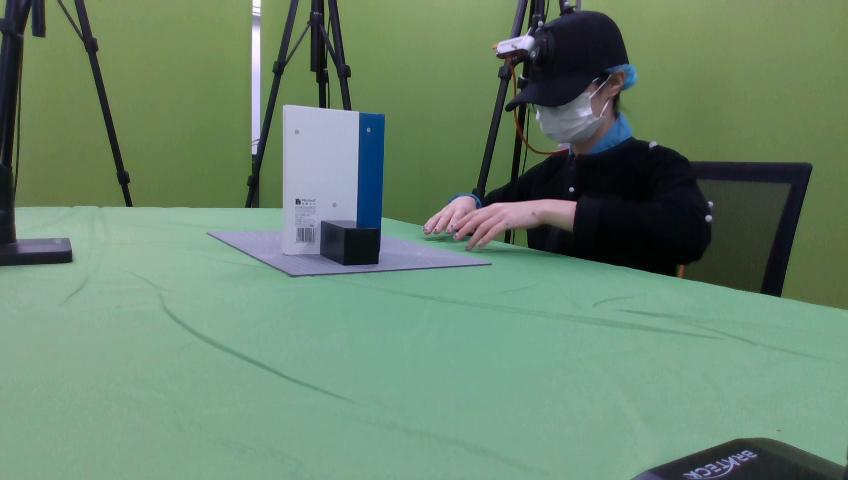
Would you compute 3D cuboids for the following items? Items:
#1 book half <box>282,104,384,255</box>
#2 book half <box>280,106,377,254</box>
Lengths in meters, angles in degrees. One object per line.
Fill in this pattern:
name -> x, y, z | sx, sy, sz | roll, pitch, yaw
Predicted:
book half -> -0.132, -0.084, 0.881 | 0.149, 0.210, 0.016 | -1, 8, -27
book half -> -0.137, -0.084, 0.886 | 0.144, 0.210, 0.007 | -1, 8, -26
